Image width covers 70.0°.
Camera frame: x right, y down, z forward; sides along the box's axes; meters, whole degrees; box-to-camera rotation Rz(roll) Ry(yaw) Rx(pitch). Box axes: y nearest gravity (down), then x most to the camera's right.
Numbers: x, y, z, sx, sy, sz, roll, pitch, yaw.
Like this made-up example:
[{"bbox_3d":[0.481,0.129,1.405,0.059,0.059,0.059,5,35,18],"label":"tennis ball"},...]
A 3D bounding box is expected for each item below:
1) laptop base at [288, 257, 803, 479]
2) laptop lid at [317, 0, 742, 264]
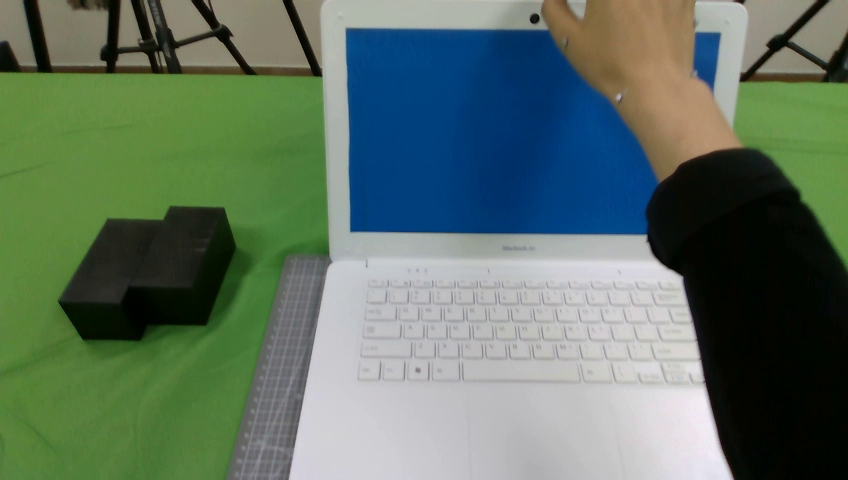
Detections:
[{"bbox_3d":[0.084,0.107,0.478,0.354,0.023,0.233,0,47,0],"label":"laptop base"},{"bbox_3d":[0.086,-0.087,0.528,0.357,0.242,0.013,-1,16,0],"label":"laptop lid"}]
